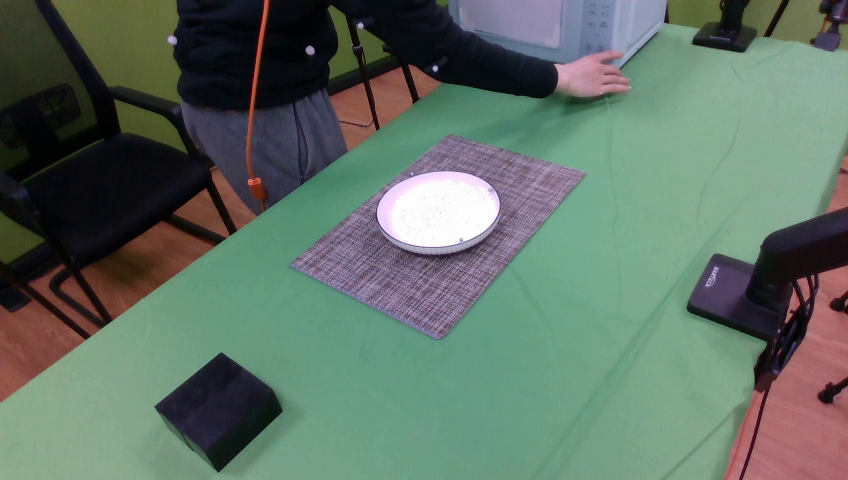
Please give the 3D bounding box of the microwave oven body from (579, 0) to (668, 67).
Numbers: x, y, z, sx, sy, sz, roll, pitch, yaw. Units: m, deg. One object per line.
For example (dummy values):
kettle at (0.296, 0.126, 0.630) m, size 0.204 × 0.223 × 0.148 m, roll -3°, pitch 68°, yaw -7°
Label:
microwave oven body at (0.325, -0.609, 1.437) m, size 0.438 × 0.261 × 0.327 m, roll 23°, pitch 50°, yaw 30°

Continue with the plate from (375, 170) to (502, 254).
plate at (0.024, -0.043, 0.998) m, size 0.209 × 0.038 × 0.208 m, roll -4°, pitch 41°, yaw 4°

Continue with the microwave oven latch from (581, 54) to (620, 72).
microwave oven latch at (0.387, -0.394, 1.330) m, size 0.078 × 0.029 × 0.030 m, roll 26°, pitch 51°, yaw 33°

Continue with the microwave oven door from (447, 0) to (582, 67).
microwave oven door at (0.203, -0.544, 1.372) m, size 0.353 × 0.245 × 0.039 m, roll 23°, pitch 49°, yaw 29°
